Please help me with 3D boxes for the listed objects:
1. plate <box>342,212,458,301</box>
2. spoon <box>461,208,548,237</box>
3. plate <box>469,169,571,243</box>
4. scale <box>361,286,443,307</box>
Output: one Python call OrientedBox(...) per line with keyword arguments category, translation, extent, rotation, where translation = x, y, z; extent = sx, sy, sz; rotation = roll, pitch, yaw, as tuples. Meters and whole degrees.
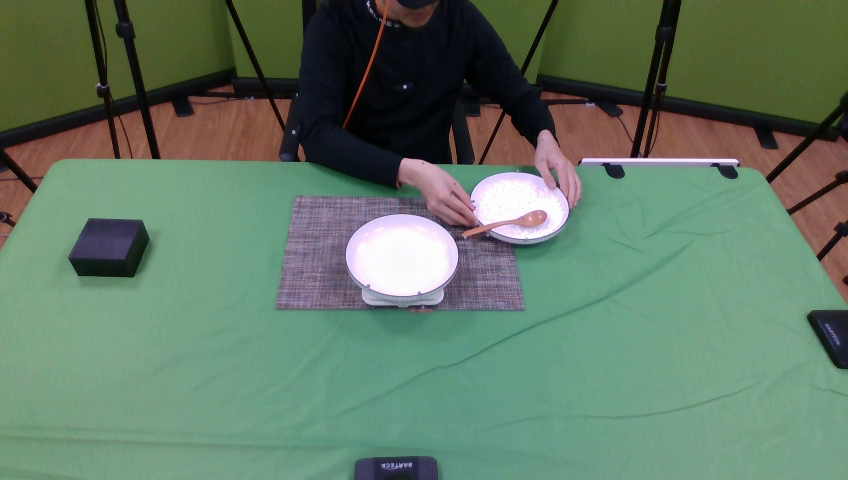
OrientedBox(category="plate", translation=(-0.043, 0.033, 1.105), extent=(0.208, 0.039, 0.206), rotation=(2, 46, -2))
OrientedBox(category="spoon", translation=(0.160, -0.034, 1.200), extent=(0.194, 0.022, 0.041), rotation=(-11, 46, -22))
OrientedBox(category="plate", translation=(0.196, -0.067, 1.255), extent=(0.209, 0.038, 0.208), rotation=(1, 46, -1))
OrientedBox(category="scale", translation=(-0.042, 0.040, 1.143), extent=(0.149, 0.032, 0.199), rotation=(0, 46, -4))
